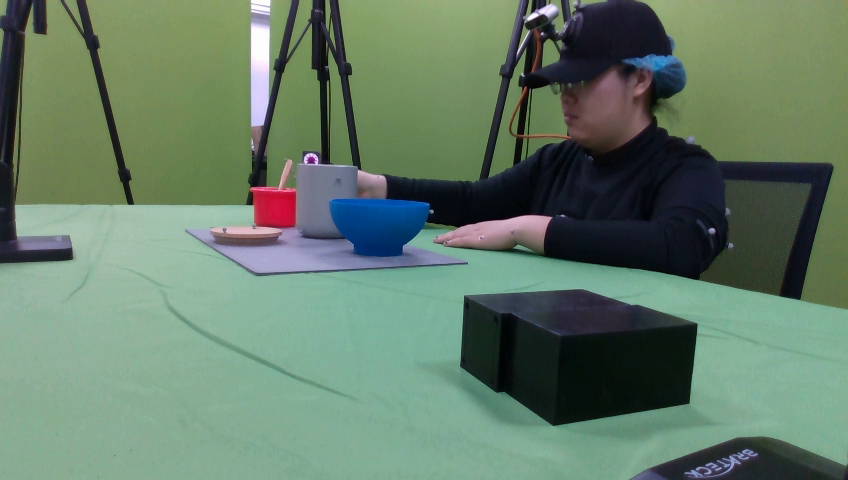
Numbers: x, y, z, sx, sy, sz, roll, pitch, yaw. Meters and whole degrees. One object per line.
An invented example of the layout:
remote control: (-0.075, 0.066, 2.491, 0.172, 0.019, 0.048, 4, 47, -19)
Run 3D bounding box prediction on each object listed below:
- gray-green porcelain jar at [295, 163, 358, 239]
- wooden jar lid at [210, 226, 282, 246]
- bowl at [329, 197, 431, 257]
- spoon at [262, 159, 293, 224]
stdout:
gray-green porcelain jar: (-0.170, -0.069, 1.054, 0.106, 0.126, 0.106, 3, 7, 0)
wooden jar lid: (-0.279, -0.007, 0.951, 0.108, 0.020, 0.108, 2, 8, 0)
bowl: (-0.066, -0.019, 0.895, 0.151, 0.077, 0.151, 3, 7, 0)
spoon: (-0.289, -0.102, 1.227, 0.041, 0.021, 0.193, 3, 51, 3)
